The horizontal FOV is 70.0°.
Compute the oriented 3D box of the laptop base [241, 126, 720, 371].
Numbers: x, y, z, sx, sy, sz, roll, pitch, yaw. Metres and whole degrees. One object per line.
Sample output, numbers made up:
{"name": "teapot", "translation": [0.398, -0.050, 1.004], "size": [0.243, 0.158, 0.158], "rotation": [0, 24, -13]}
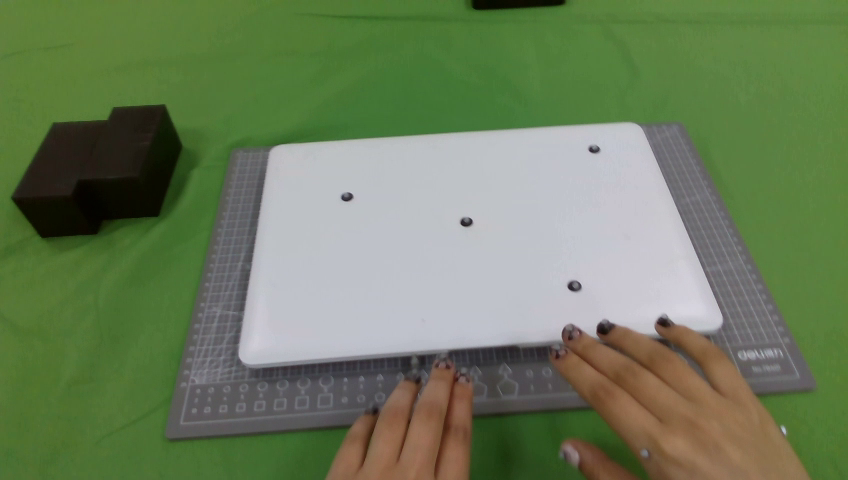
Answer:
{"name": "laptop base", "translation": [0.036, -0.004, 0.514], "size": [0.354, 0.023, 0.233], "rotation": [-4, 53, -1]}

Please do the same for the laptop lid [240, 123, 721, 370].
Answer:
{"name": "laptop lid", "translation": [0.036, -0.010, 0.503], "size": [0.357, 0.013, 0.239], "rotation": [-3, 51, 0]}
